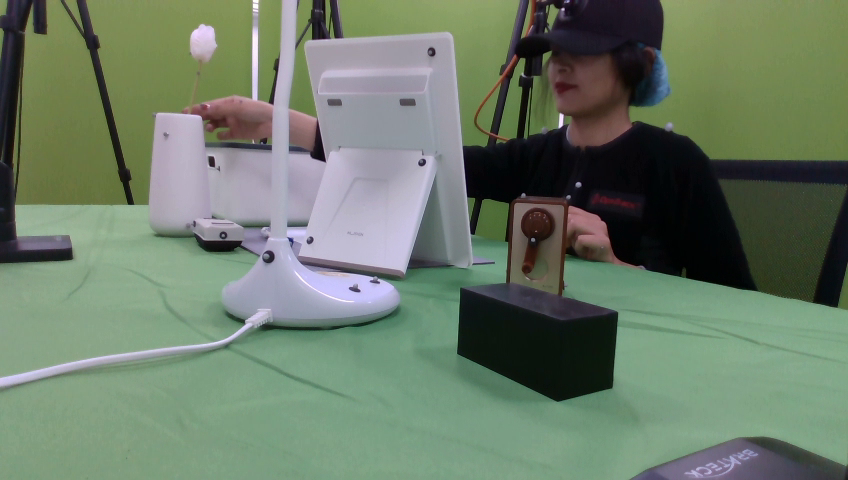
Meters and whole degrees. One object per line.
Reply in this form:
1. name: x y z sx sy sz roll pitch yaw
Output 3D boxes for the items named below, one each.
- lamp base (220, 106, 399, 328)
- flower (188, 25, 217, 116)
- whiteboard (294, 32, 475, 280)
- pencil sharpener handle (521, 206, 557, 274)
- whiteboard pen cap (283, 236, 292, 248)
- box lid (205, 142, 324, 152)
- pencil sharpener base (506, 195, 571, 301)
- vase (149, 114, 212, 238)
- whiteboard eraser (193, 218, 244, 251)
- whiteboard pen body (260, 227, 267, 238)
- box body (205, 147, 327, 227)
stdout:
1. lamp base: -0.102 -0.023 0.531 0.160 0.180 0.179 4 10 10
2. flower: -0.394 -0.189 1.011 0.044 0.361 0.038 -1 -13 27
3. whiteboard: -0.076 -0.084 0.746 0.216 0.305 0.144 7 28 29
4. pencil sharpener handle: 0.112 0.001 0.611 0.036 0.067 0.031 13 10 12
5. whiteboard pen cap: -0.211 0.003 0.913 0.018 0.018 0.033 -2 6 -28
6. box lid: -0.270 -0.196 1.310 0.373 0.015 0.262 -2 9 -30
7. pencil sharpener base: 0.126 0.007 0.662 0.061 0.107 0.077 4 8 13
8. vase: -0.405 -0.106 1.005 0.098 0.200 0.098 2 7 0
9. whiteboard eraser: -0.307 -0.009 0.899 0.056 0.042 0.112 -4 10 -29
10. whiteboard pen body: -0.239 -0.005 0.964 0.017 0.017 0.140 -2 9 -28
11. box body: -0.276 -0.122 1.320 0.366 0.160 0.253 -2 9 -30
